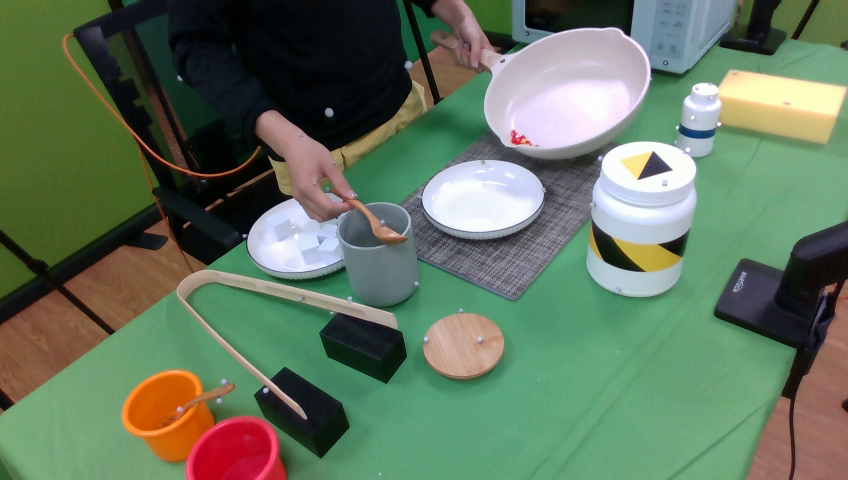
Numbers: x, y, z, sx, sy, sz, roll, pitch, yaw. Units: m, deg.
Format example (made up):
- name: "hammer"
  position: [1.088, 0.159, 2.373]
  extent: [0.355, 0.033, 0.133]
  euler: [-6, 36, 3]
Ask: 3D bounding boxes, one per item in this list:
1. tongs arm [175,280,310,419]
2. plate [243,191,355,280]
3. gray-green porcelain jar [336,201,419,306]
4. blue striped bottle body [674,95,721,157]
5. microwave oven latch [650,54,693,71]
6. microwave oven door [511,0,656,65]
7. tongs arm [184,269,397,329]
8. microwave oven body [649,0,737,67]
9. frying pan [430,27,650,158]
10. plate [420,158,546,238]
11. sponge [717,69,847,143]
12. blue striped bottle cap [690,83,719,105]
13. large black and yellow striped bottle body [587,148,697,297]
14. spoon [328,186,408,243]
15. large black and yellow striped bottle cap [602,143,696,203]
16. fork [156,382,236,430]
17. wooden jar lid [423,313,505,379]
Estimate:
- name: "tongs arm"
  position: [-0.254, 0.133, 0.801]
  extent: [0.028, 0.028, 0.384]
  euler: [-41, 41, -23]
- name: "plate"
  position: [-0.188, -0.005, 0.992]
  extent: [0.207, 0.039, 0.206]
  euler: [-4, 41, 4]
- name: "gray-green porcelain jar"
  position: [-0.064, 0.024, 0.872]
  extent: [0.106, 0.127, 0.105]
  euler: [-4, 41, 4]
- name: "blue striped bottle body"
  position: [0.486, -0.213, 1.071]
  extent: [0.063, 0.121, 0.063]
  euler: [-4, 41, 4]
- name: "microwave oven latch"
  position: [0.531, -0.386, 1.301]
  extent: [0.078, 0.029, 0.030]
  euler: [26, 51, 33]
- name: "microwave oven door"
  position: [0.350, -0.539, 1.349]
  extent: [0.353, 0.245, 0.039]
  euler: [24, 50, 31]
- name: "tongs arm"
  position: [-0.203, 0.085, 0.847]
  extent: [0.382, 0.027, 0.051]
  euler: [11, 45, 34]
- name: "microwave oven body"
  position: [0.475, -0.602, 1.411]
  extent: [0.438, 0.261, 0.327]
  euler: [23, 50, 32]
- name: "frying pan"
  position: [0.186, -0.314, 1.143]
  extent: [0.307, 0.103, 0.484]
  euler: [-46, 59, -11]
- name: "plate"
  position: [0.099, -0.067, 1.017]
  extent: [0.209, 0.038, 0.208]
  euler: [-4, 40, 4]
- name: "sponge"
  position: [0.663, -0.256, 1.142]
  extent: [0.205, 0.061, 0.118]
  euler: [19, 47, 28]
- name: "blue striped bottle cap"
  position: [0.481, -0.251, 1.038]
  extent: [0.044, 0.021, 0.044]
  euler: [-5, 40, 5]
- name: "large black and yellow striped bottle body"
  position: [0.298, -0.026, 0.834]
  extent: [0.131, 0.185, 0.130]
  euler: [-4, 41, 4]
- name: "spoon"
  position: [-0.083, -0.039, 0.836]
  extent: [0.042, 0.021, 0.192]
  euler: [-3, 31, -37]
- name: "large black and yellow striped bottle cap"
  position: [0.289, -0.088, 0.779]
  extent: [0.115, 0.019, 0.114]
  euler: [-5, 39, 4]
- name: "fork"
  position: [-0.262, 0.189, 0.690]
  extent: [0.018, 0.206, 0.028]
  euler: [49, 43, -6]
- name: "wooden jar lid"
  position: [0.053, 0.142, 0.800]
  extent: [0.108, 0.021, 0.108]
  euler: [-5, 39, 4]
